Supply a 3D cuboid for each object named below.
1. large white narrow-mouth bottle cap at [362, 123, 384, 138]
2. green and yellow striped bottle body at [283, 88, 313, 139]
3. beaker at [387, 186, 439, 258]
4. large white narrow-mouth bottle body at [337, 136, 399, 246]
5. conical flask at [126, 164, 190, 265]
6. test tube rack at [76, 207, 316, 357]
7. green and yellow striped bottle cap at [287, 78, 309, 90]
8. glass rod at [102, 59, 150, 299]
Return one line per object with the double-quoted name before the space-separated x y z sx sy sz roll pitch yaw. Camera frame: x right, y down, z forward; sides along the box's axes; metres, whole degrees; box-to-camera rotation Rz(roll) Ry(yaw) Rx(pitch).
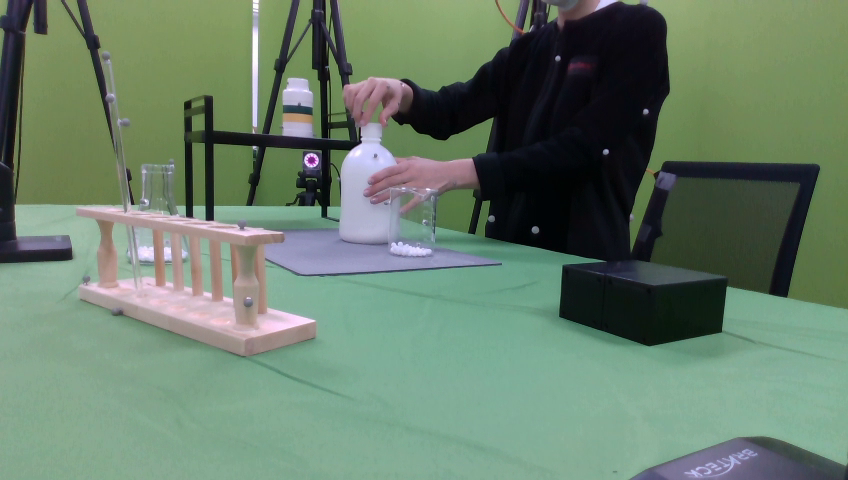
"large white narrow-mouth bottle cap" -0.084 -0.181 0.999 0.038 0.024 0.037 4 9 0
"green and yellow striped bottle body" -0.266 -0.275 1.275 0.063 0.119 0.063 3 7 0
"beaker" -0.015 -0.027 0.885 0.074 0.100 0.083 -1 9 -20
"large white narrow-mouth bottle body" -0.092 -0.092 1.014 0.102 0.194 0.102 4 9 0
"conical flask" -0.332 -0.033 0.756 0.075 0.122 0.075 2 7 0
"test tube rack" -0.196 0.023 0.500 0.241 0.085 0.067 8 9 36
"green and yellow striped bottle cap" -0.265 -0.326 1.268 0.045 0.020 0.045 4 6 0
"glass rod" -0.243 -0.045 0.496 0.008 0.199 0.008 -4 13 1
